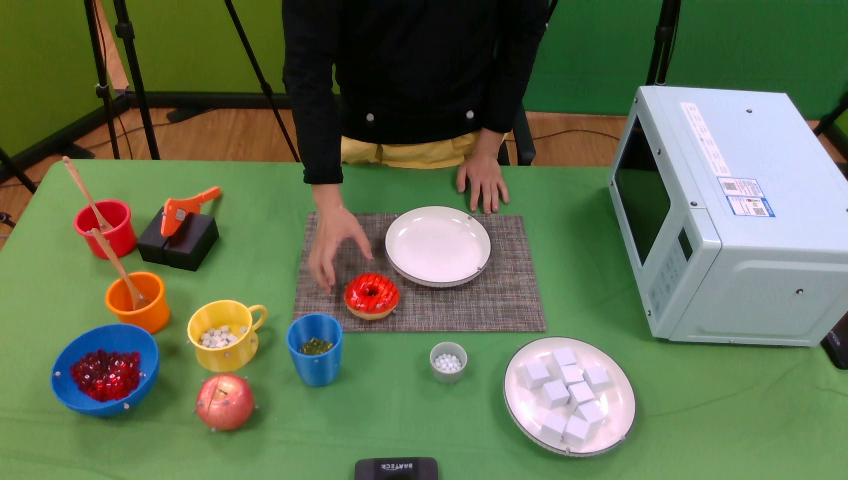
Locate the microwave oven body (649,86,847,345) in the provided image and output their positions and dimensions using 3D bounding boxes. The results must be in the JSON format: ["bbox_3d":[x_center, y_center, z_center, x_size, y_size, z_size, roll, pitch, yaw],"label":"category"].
[{"bbox_3d":[0.568,-0.053,1.118,0.326,0.261,0.439,2,45,-1],"label":"microwave oven body"}]

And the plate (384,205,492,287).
[{"bbox_3d":[0.027,0.015,1.169,0.209,0.038,0.208,2,46,-2],"label":"plate"}]

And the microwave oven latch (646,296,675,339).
[{"bbox_3d":[0.412,0.134,1.061,0.030,0.029,0.078,4,45,1],"label":"microwave oven latch"}]

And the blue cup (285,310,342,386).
[{"bbox_3d":[-0.170,0.179,0.958,0.093,0.101,0.092,1,44,-1],"label":"blue cup"}]

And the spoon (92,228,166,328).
[{"bbox_3d":[-0.495,0.063,1.014,0.041,0.194,0.021,-34,12,-31],"label":"spoon"}]

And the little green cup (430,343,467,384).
[{"bbox_3d":[0.039,0.203,0.994,0.061,0.039,0.061,2,46,-2],"label":"little green cup"}]

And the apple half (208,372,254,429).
[{"bbox_3d":[-0.282,0.244,0.908,0.053,0.075,0.080,7,43,-1],"label":"apple half"}]

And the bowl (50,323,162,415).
[{"bbox_3d":[-0.472,0.209,0.924,0.151,0.077,0.150,3,45,-2],"label":"bowl"}]

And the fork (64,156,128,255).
[{"bbox_3d":[-0.614,-0.064,1.130,0.028,0.018,0.207,-29,97,-17],"label":"fork"}]

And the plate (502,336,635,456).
[{"bbox_3d":[0.225,0.248,0.963,0.208,0.039,0.206,2,46,-2],"label":"plate"}]

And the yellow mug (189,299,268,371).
[{"bbox_3d":[-0.316,0.148,1.002,0.131,0.064,0.099,-32,56,-32],"label":"yellow mug"}]

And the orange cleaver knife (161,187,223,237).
[{"bbox_3d":[-0.448,-0.058,1.180,0.012,0.077,0.211,13,17,6],"label":"orange cleaver knife"}]

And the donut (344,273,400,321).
[{"bbox_3d":[-0.092,0.099,1.076,0.099,0.048,0.098,2,44,-2],"label":"donut"}]

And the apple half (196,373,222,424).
[{"bbox_3d":[-0.322,0.239,0.907,0.033,0.081,0.081,7,46,-1],"label":"apple half"}]

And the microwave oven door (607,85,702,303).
[{"bbox_3d":[0.423,-0.094,1.141,0.039,0.245,0.353,2,46,-1],"label":"microwave oven door"}]
